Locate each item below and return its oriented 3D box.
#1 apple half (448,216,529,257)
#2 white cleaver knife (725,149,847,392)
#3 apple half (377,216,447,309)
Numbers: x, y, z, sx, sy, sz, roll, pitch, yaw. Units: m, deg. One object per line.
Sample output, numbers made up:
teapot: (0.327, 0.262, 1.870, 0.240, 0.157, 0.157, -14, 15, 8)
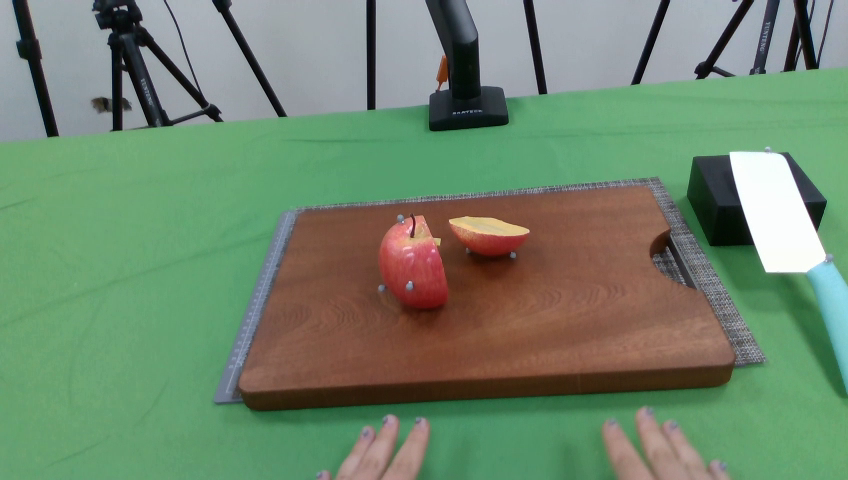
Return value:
apple half: (0.059, 0.000, 0.594, 0.081, 0.033, 0.081, 6, 16, -1)
white cleaver knife: (0.335, 0.012, 0.552, 0.066, 0.022, 0.283, -4, 47, 10)
apple half: (-0.014, 0.024, 0.546, 0.053, 0.075, 0.080, -17, 40, -6)
